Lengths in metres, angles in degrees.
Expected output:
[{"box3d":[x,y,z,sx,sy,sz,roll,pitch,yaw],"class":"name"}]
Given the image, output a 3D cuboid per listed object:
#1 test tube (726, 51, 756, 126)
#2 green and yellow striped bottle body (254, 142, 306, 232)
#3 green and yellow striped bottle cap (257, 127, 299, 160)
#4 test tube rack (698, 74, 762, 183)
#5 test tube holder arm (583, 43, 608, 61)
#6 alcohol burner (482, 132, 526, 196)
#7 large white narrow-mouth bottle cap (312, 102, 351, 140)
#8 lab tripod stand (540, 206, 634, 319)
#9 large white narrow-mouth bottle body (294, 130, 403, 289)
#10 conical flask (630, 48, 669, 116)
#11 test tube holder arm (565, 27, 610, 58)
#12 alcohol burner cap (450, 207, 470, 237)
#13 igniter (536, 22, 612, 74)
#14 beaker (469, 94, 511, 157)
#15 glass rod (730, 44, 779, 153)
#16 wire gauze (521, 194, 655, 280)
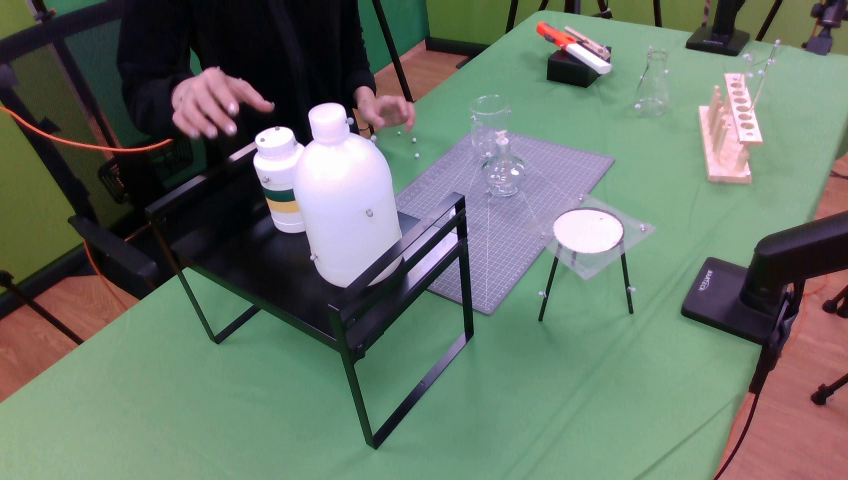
[{"box3d":[0.568,-0.268,1.085,0.017,0.151,0.017,-4,46,4],"class":"test tube"},{"box3d":[-0.165,-0.073,0.732,0.063,0.120,0.063,-4,41,4],"class":"green and yellow striped bottle body"},{"box3d":[-0.169,-0.112,0.698,0.045,0.020,0.045,-5,40,5],"class":"green and yellow striped bottle cap"},{"box3d":[0.547,-0.208,1.095,0.066,0.085,0.242,5,42,15],"class":"test tube rack"},{"box3d":[0.379,-0.420,1.341,0.010,0.015,0.087,-39,41,10],"class":"test tube holder arm"},{"box3d":[0.137,-0.136,1.042,0.078,0.119,0.077,-4,43,4],"class":"alcohol burner"},{"box3d":[-0.089,-0.114,0.579,0.038,0.024,0.037,-3,39,3],"class":"large white narrow-mouth bottle cap"},{"box3d":[0.218,0.034,0.821,0.148,0.132,0.147,-4,42,4],"class":"lab tripod stand"},{"box3d":[-0.082,-0.047,0.634,0.102,0.195,0.101,-4,40,4],"class":"large white narrow-mouth bottle body"},{"box3d":[0.456,-0.317,1.205,0.075,0.122,0.075,-4,41,4],"class":"conical flask"},{"box3d":[0.369,-0.450,1.373,0.013,0.015,0.177,-39,41,10],"class":"test tube holder arm"},{"box3d":[0.057,-0.032,0.987,0.034,0.048,0.033,-4,41,4],"class":"alcohol burner cap"},{"box3d":[0.330,-0.439,1.366,0.057,0.025,0.274,-11,41,-20],"class":"igniter"},{"box3d":[0.124,-0.216,1.148,0.074,0.101,0.083,-21,42,-16],"class":"beaker"},{"box3d":[0.555,-0.233,1.020,0.008,0.200,0.008,2,39,-1],"class":"glass rod"},{"box3d":[0.207,-0.012,0.772,0.122,0.011,0.124,-28,44,-20],"class":"wire gauze"}]
